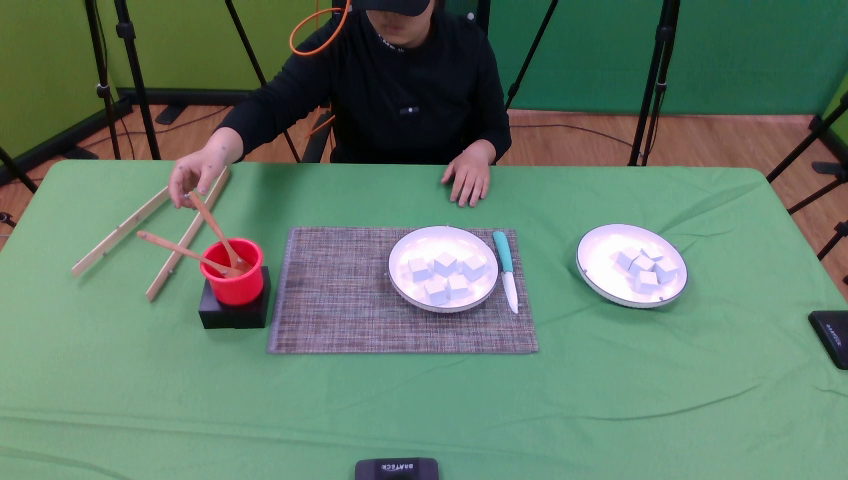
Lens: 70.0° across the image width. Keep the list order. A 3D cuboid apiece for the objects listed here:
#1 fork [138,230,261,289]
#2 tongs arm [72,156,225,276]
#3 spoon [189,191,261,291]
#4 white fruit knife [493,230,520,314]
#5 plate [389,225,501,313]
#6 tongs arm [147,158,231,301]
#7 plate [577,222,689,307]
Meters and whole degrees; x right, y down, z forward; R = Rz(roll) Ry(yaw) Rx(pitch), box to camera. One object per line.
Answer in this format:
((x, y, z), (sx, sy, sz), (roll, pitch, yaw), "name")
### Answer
((-0.360, 0.032, 0.981), (0.208, 0.018, 0.028), (31, 60, -30), "fork")
((-0.531, -0.057, 1.205), (0.050, 0.026, 0.383), (19, 47, 13), "tongs arm")
((-0.333, 0.001, 1.012), (0.041, 0.194, 0.021), (-34, 15, -26), "spoon")
((0.160, 0.057, 1.154), (0.027, 0.016, 0.206), (-21, 46, 16), "white fruit knife")
((0.038, 0.057, 1.129), (0.208, 0.039, 0.206), (2, 46, -2), "plate")
((-0.454, -0.034, 1.194), (0.028, 0.028, 0.385), (7, 46, 6), "tongs arm")
((0.396, 0.050, 1.165), (0.209, 0.038, 0.208), (2, 47, -2), "plate")
